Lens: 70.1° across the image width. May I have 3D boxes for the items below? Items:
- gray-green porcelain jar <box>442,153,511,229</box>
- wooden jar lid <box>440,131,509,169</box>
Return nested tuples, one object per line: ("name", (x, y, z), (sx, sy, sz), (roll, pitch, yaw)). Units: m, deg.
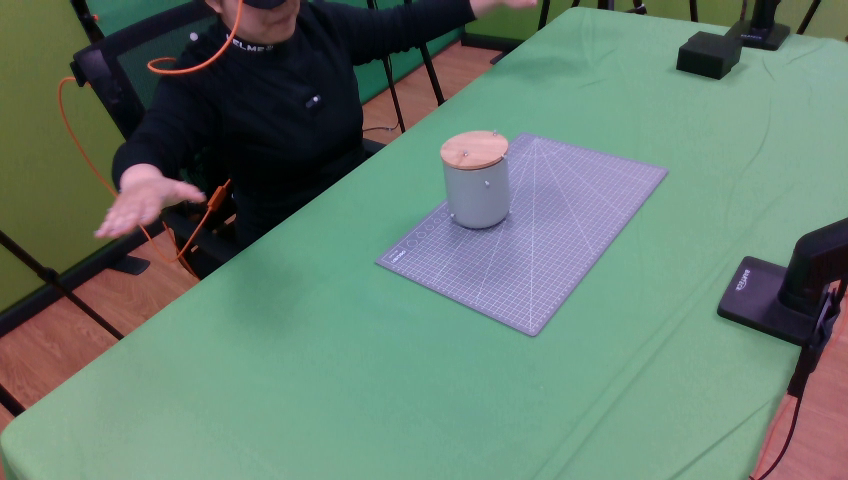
("gray-green porcelain jar", (0.088, -0.091, 0.988), (0.106, 0.127, 0.105), (-5, 40, 5))
("wooden jar lid", (0.079, -0.137, 0.948), (0.108, 0.021, 0.108), (-5, 38, 5))
